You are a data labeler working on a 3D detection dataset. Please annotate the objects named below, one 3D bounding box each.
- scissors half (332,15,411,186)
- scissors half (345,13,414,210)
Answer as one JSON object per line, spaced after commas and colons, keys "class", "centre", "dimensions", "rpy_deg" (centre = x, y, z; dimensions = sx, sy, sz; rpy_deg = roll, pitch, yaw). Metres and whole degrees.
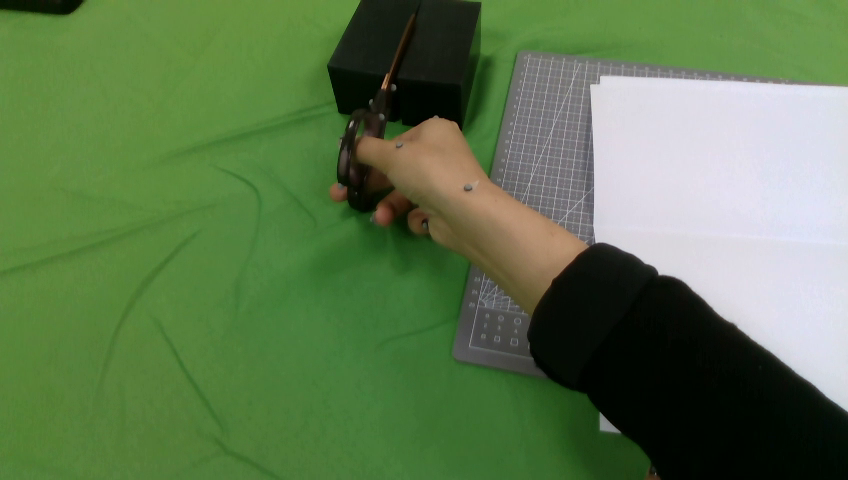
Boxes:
{"class": "scissors half", "centre": [-0.033, -0.112, 0.447], "dimensions": [0.013, 0.040, 0.174], "rpy_deg": [11, 57, 13]}
{"class": "scissors half", "centre": [-0.029, -0.103, 0.465], "dimensions": [0.012, 0.040, 0.174], "rpy_deg": [9, 74, 18]}
